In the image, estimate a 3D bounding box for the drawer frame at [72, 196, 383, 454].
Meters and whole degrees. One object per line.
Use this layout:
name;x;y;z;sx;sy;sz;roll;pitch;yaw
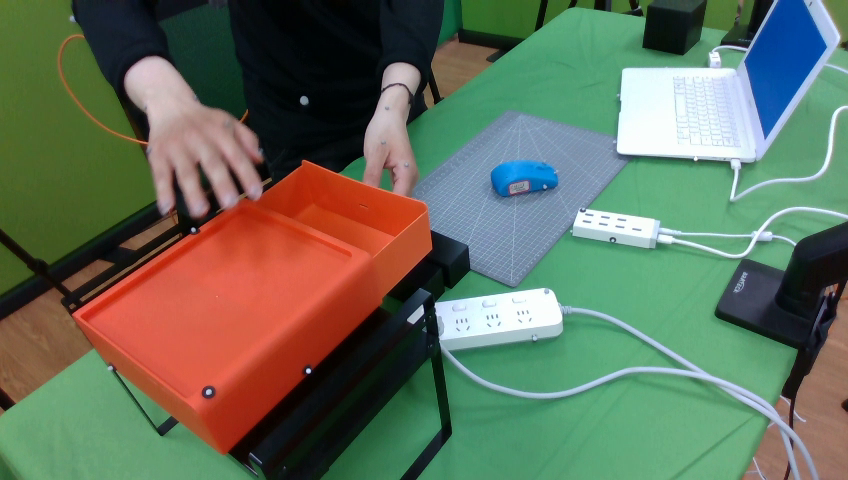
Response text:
drawer frame;-0.185;0.067;0.597;0.200;0.083;0.214;22;49;30

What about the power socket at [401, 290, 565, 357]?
power socket;0.081;0.112;0.821;0.227;0.033;0.072;-7;41;-1

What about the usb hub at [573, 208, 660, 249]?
usb hub;0.301;-0.019;0.949;0.124;0.025;0.049;11;43;20

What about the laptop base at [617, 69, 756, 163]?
laptop base;0.509;-0.255;1.201;0.234;0.023;0.353;4;42;16

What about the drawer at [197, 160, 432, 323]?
drawer;-0.129;0.014;0.654;0.193;0.073;0.212;22;48;30

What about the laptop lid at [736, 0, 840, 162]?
laptop lid;0.640;-0.327;1.090;0.013;0.242;0.356;16;43;5

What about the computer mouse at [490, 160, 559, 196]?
computer mouse;0.177;-0.114;1.066;0.117;0.041;0.062;-8;39;-6

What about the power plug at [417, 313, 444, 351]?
power plug;0.006;0.127;0.786;0.035;0.053;0.072;1;43;9

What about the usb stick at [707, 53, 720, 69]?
usb stick;0.629;-0.382;1.313;0.021;0.027;0.059;2;46;17
